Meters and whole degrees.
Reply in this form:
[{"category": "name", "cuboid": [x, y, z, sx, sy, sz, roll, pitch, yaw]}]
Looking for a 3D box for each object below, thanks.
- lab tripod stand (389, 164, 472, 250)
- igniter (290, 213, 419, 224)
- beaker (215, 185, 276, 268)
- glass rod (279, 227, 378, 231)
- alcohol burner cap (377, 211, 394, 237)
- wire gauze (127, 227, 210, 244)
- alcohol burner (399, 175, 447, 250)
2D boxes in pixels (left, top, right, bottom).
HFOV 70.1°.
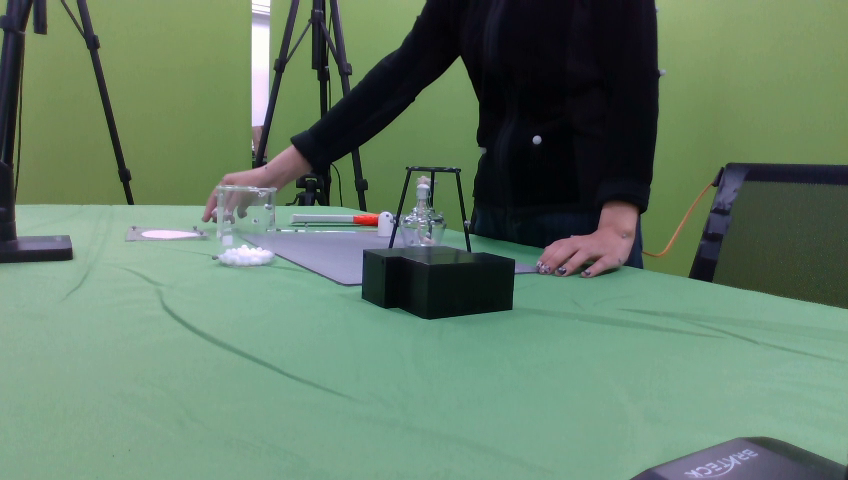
[{"category": "lab tripod stand", "cuboid": [0.011, -0.054, 0.960, 0.148, 0.131, 0.148, 2, 9, 0]}, {"category": "igniter", "cuboid": [-0.144, -0.046, 1.288, 0.278, 0.025, 0.057, -1, -3, -24]}, {"category": "beaker", "cuboid": [-0.226, -0.019, 0.773, 0.074, 0.100, 0.084, 5, 7, 14]}, {"category": "glass rod", "cuboid": [-0.175, -0.021, 1.161, 0.200, 0.008, 0.008, 0, 7, -15]}, {"category": "alcohol burner cap", "cuboid": [-0.069, -0.030, 1.112, 0.034, 0.048, 0.034, 1, 9, 0]}, {"category": "wire gauze", "cuboid": [-0.421, -0.010, 0.998, 0.122, 0.011, 0.124, -2, 10, -24]}, {"category": "alcohol burner", "cuboid": [-0.002, -0.044, 0.962, 0.078, 0.119, 0.078, 0, 8, 0]}]
